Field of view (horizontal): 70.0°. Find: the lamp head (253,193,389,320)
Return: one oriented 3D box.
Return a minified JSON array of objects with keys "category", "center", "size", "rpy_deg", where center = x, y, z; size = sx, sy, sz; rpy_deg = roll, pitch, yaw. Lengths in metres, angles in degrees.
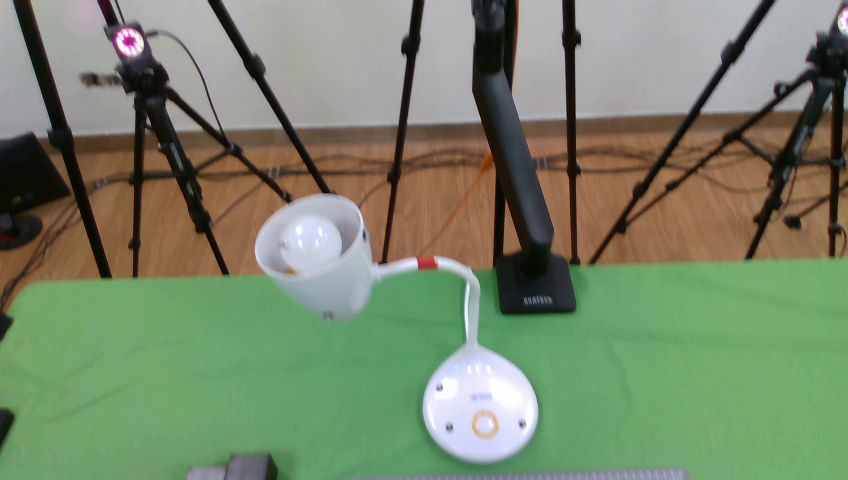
[{"category":"lamp head","center":[-0.100,0.027,0.638],"size":[0.112,0.124,0.111],"rpy_deg":[-11,48,13]}]

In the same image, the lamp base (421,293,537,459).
[{"category":"lamp base","center":[0.069,0.168,0.795],"size":[0.161,0.182,0.177],"rpy_deg":[-12,46,-8]}]

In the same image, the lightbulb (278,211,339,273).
[{"category":"lightbulb","center":[-0.110,0.016,0.617],"size":[0.059,0.109,0.059],"rpy_deg":[-6,53,8]}]
